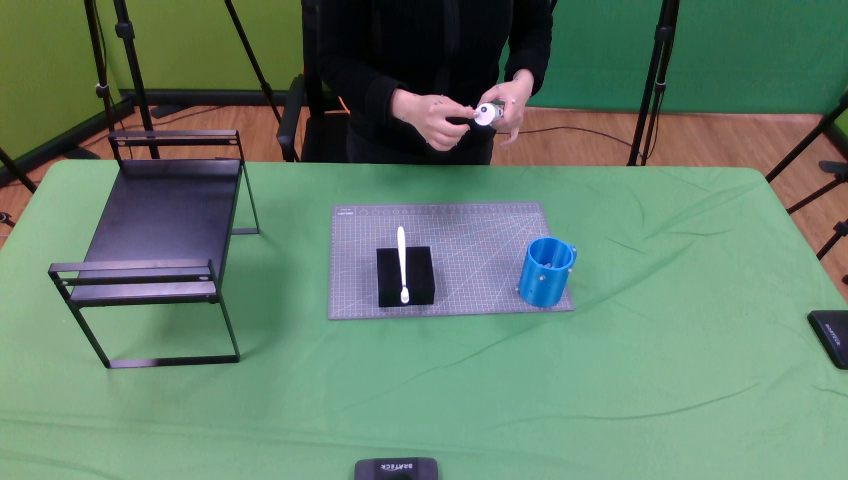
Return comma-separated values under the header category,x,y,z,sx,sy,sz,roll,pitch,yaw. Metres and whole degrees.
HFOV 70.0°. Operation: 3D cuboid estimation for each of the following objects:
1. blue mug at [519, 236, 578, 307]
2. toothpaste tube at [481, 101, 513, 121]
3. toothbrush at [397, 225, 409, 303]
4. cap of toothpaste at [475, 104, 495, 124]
category,x,y,z,sx,sy,sz,roll,pitch,yaw
blue mug,0.234,0.051,1.102,0.116,0.106,0.082,-23,52,-24
toothpaste tube,0.132,-0.243,1.136,0.055,0.034,0.165,33,23,5
toothbrush,-0.038,0.038,1.090,0.014,0.017,0.180,-6,46,0
cap of toothpaste,0.107,-0.221,1.060,0.037,0.037,0.011,7,30,3
